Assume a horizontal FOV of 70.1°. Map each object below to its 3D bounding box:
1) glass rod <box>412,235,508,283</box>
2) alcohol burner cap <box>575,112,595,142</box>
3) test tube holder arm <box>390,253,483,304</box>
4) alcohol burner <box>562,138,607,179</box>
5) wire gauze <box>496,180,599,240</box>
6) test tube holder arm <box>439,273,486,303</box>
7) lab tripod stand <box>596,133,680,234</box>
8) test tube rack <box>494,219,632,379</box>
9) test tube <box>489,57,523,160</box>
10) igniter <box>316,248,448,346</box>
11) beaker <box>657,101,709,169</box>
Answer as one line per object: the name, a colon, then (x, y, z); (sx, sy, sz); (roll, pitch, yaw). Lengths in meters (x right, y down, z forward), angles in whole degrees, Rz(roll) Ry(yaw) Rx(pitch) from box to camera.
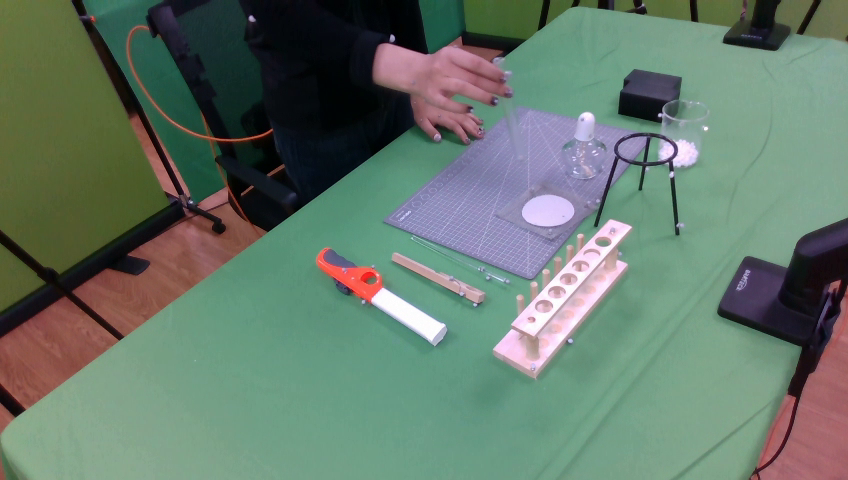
glass rod: (0.051, 0.028, 0.951); (0.198, 0.008, 0.008); (25, 51, 37)
alcohol burner cap: (0.276, -0.194, 1.028); (0.034, 0.048, 0.033); (-2, 45, 3)
test tube holder arm: (0.015, 0.055, 0.916); (0.177, 0.015, 0.013); (24, 16, 33)
alcohol burner: (0.280, -0.167, 1.052); (0.078, 0.119, 0.077); (-5, 38, 4)
wire gauze: (0.206, -0.050, 1.012); (0.125, 0.011, 0.120); (-34, 45, -26)
test tube holder arm: (0.053, 0.070, 0.896); (0.087, 0.015, 0.010); (24, 16, 33)
lab tripod stand: (0.338, -0.091, 0.940); (0.148, 0.132, 0.147); (-7, 39, 6)
test tube rack: (0.191, 0.068, 0.818); (0.066, 0.085, 0.243); (25, 51, 35)
test tube: (0.112, -0.174, 0.817); (0.017, 0.151, 0.017); (-14, 34, 10)
igniter: (-0.074, 0.078, 0.902); (0.274, 0.025, 0.057); (28, 63, 36)
beaker: (0.449, -0.183, 1.054); (0.073, 0.101, 0.084); (16, 46, 27)
